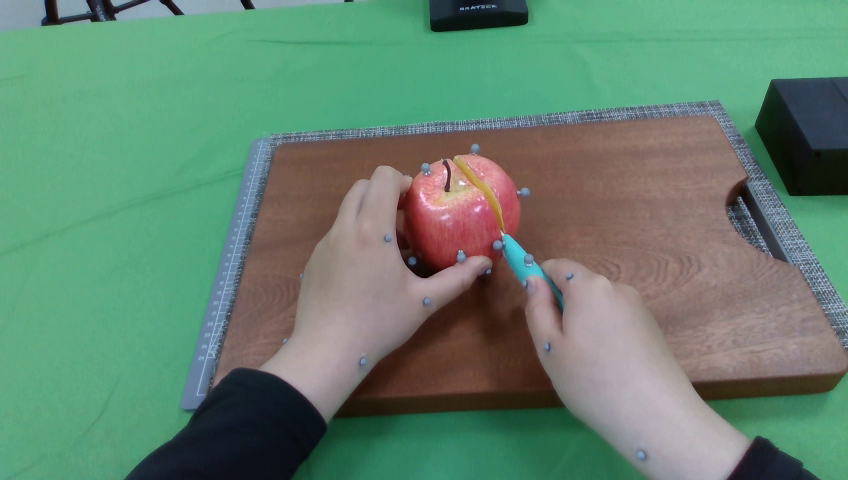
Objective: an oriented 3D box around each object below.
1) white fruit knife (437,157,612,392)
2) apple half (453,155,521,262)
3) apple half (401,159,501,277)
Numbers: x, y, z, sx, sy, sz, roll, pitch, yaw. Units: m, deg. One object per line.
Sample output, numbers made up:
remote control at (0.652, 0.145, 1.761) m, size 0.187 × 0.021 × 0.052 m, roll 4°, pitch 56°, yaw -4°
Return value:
white fruit knife at (0.057, 0.010, 0.400) m, size 0.016 × 0.028 × 0.205 m, roll -24°, pitch 55°, yaw -15°
apple half at (0.049, -0.025, 0.436) m, size 0.033 × 0.082 × 0.080 m, roll -23°, pitch 49°, yaw -16°
apple half at (0.012, -0.009, 0.424) m, size 0.053 × 0.075 × 0.080 m, roll -28°, pitch 54°, yaw -13°
